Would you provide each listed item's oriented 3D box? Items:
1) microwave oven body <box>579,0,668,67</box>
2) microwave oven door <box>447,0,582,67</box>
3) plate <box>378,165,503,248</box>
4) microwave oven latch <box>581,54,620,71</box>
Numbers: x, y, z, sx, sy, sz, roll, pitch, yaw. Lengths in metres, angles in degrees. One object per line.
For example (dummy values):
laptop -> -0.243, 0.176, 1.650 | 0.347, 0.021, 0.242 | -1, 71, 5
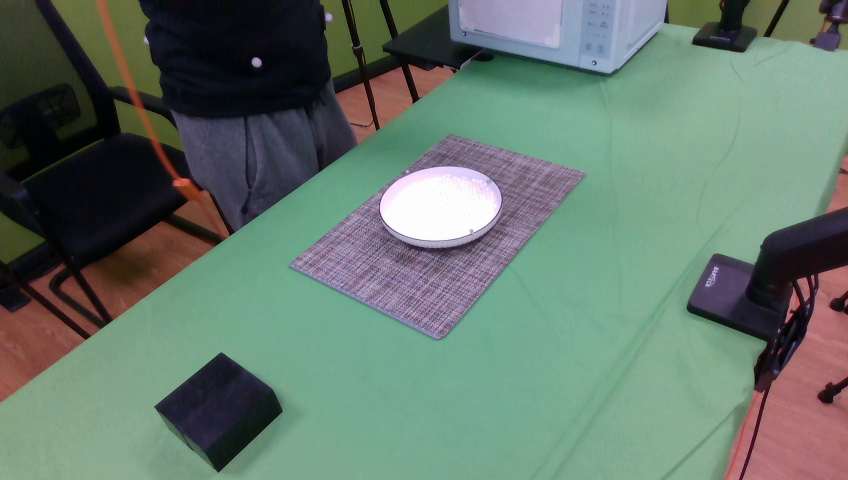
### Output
microwave oven body -> 0.325, -0.609, 1.437 | 0.438, 0.261, 0.327 | 23, 50, 30
microwave oven door -> 0.203, -0.544, 1.373 | 0.353, 0.245, 0.039 | 23, 49, 29
plate -> 0.029, -0.053, 1.008 | 0.209, 0.038, 0.208 | -4, 41, 4
microwave oven latch -> 0.386, -0.394, 1.330 | 0.078, 0.029, 0.030 | 25, 51, 32
